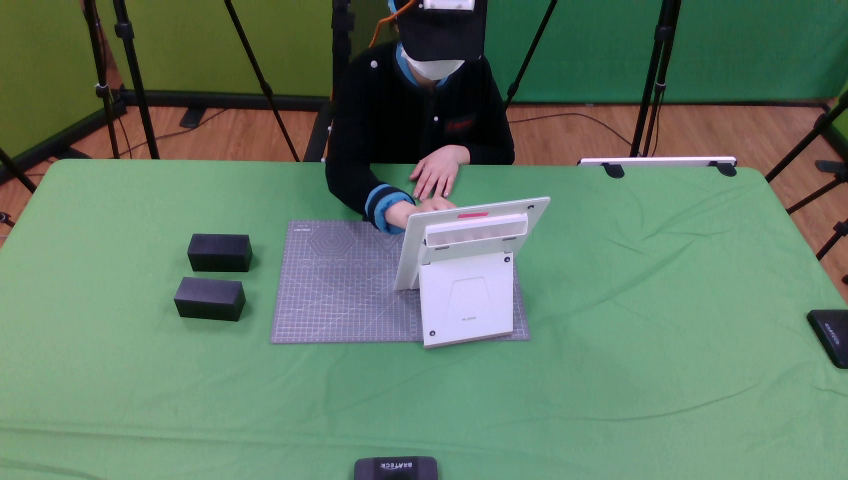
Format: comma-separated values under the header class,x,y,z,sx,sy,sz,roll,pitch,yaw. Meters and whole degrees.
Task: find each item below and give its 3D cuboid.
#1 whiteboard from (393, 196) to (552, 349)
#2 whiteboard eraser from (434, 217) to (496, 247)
class,x,y,z,sx,sy,sz,roll,pitch,yaw
whiteboard,0.077,0.071,0.977,0.217,0.306,0.143,-7,67,-11
whiteboard eraser,0.065,-0.013,0.970,0.101,0.041,0.018,-19,65,17
